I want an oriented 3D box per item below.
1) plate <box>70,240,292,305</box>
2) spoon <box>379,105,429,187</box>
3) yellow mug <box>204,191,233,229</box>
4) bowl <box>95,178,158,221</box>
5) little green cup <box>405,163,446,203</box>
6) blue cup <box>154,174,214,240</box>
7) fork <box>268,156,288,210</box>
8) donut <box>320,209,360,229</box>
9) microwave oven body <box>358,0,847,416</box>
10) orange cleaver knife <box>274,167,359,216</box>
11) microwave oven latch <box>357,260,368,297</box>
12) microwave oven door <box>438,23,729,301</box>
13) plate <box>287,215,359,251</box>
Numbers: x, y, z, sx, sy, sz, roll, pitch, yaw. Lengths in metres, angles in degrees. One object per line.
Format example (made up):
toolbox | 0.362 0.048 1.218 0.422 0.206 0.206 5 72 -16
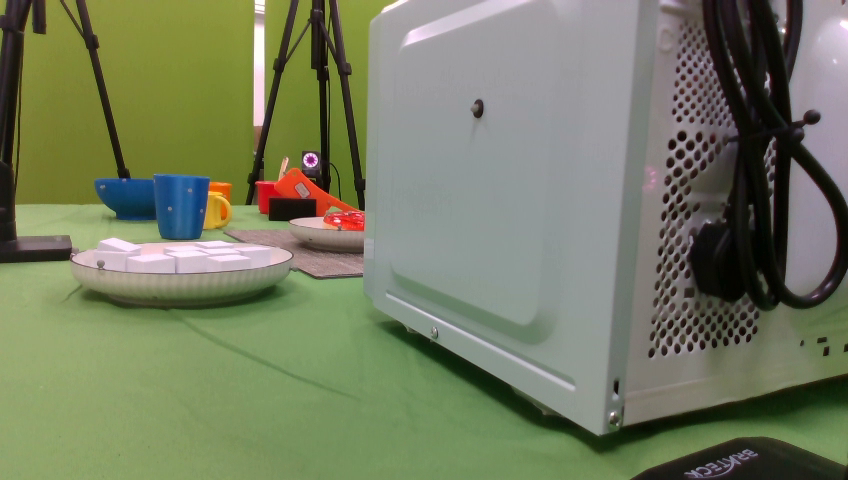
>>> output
plate | -0.242 0.031 0.618 0.208 0.039 0.207 2 8 0
spoon | -0.038 -0.160 1.013 0.042 0.193 0.021 -6 -31 -29
yellow mug | -0.415 -0.057 1.132 0.130 0.064 0.100 6 8 16
bowl | -0.576 -0.081 1.217 0.151 0.077 0.151 3 8 0
little green cup | 0.004 -0.089 0.960 0.061 0.038 0.061 -20 -21 -8
blue cup | -0.390 -0.053 0.978 0.093 0.100 0.092 3 6 0
fork | -0.360 -0.144 1.508 0.028 0.018 0.207 2 49 0
donut | -0.115 -0.023 0.961 0.099 0.048 0.099 5 8 0
microwave oven body | 0.211 -0.047 0.474 0.444 0.260 0.324 -1 7 -28
orange cleaver knife | -0.238 -0.090 1.381 0.212 0.077 0.012 31 0 -19
microwave oven latch | -0.019 0.033 0.531 0.079 0.029 0.030 -1 7 -27
microwave oven door | 0.181 -0.072 0.620 0.358 0.243 0.039 -2 8 -29
plate | -0.111 -0.012 0.960 0.209 0.038 0.209 3 8 0
